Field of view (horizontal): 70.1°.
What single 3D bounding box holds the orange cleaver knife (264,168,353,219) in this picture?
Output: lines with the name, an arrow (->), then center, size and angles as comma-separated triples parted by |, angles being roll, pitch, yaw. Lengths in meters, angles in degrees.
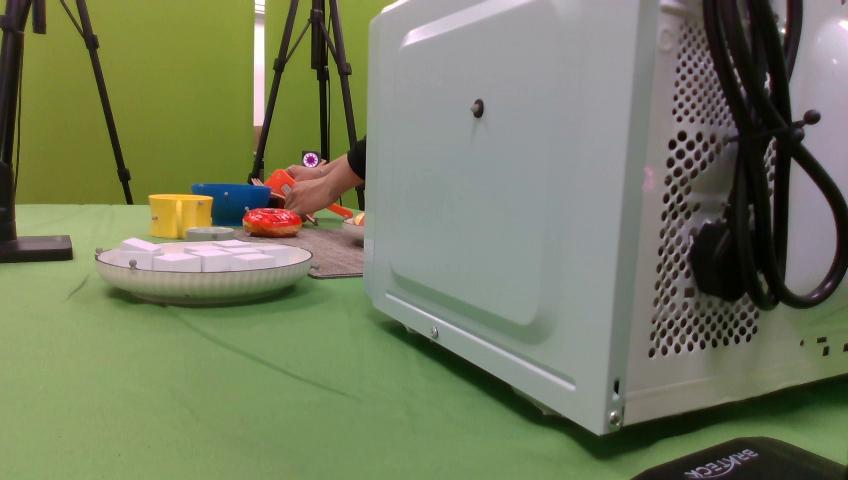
orange cleaver knife -> -0.262, -0.089, 1.352 | 0.211, 0.077, 0.012 | 27, 13, 0

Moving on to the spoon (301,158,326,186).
spoon -> -0.320, -0.161, 1.646 | 0.041, 0.022, 0.194 | 8, 53, 33

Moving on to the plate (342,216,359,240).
plate -> -0.033, -0.014, 1.006 | 0.209, 0.038, 0.209 | 2, 8, 0

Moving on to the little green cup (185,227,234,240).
little green cup -> -0.285, 0.005, 0.805 | 0.061, 0.038, 0.061 | 2, 8, 0

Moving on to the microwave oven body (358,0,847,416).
microwave oven body -> 0.211, -0.047, 0.474 | 0.444, 0.260, 0.324 | -1, 7, -28

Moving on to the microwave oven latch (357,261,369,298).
microwave oven latch -> -0.019, 0.033, 0.530 | 0.079, 0.029, 0.030 | -1, 7, -26

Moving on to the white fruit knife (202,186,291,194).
white fruit knife -> -0.395, -0.111, 1.367 | 0.208, 0.016, 0.027 | -5, -18, -35

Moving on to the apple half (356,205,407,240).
apple half -> -0.065, -0.029, 0.970 | 0.081, 0.053, 0.074 | 3, 7, -26

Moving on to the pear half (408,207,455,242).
pear half -> 0.018, -0.026, 0.999 | 0.076, 0.056, 0.110 | 9, 6, 19

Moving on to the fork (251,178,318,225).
fork -> -0.300, -0.085, 1.297 | 0.206, 0.018, 0.028 | 30, 17, 26

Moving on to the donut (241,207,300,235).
donut -> -0.263, -0.032, 1.039 | 0.099, 0.048, 0.099 | 4, 9, 0

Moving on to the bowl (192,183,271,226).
bowl -> -0.382, -0.071, 1.202 | 0.151, 0.077, 0.151 | 3, 7, 0

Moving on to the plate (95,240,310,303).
plate -> -0.224, 0.031, 0.629 | 0.208, 0.039, 0.207 | 2, 7, 0

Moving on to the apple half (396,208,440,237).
apple half -> -0.008, -0.037, 1.053 | 0.081, 0.033, 0.081 | 14, 25, -6

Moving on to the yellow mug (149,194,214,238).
yellow mug -> -0.401, -0.040, 1.003 | 0.100, 0.064, 0.130 | 0, 9, -20

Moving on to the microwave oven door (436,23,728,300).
microwave oven door -> 0.180, -0.073, 0.621 | 0.358, 0.243, 0.039 | -2, 9, -29

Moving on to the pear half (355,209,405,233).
pear half -> -0.076, -0.035, 1.045 | 0.088, 0.031, 0.070 | 6, 26, -7
